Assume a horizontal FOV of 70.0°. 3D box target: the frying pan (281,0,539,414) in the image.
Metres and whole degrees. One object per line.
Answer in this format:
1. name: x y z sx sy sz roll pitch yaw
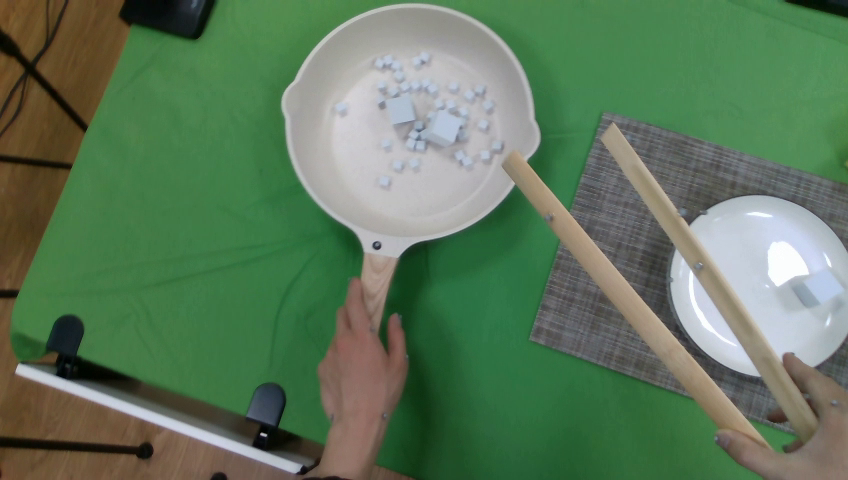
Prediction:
1. frying pan: -0.040 -0.045 0.704 0.306 0.103 0.485 11 73 6

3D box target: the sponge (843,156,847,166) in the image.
1. sponge: 0.608 -0.055 0.686 0.118 0.061 0.206 -36 79 -5

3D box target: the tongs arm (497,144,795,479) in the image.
1. tongs arm: 0.187 0.066 0.503 0.028 0.028 0.385 -26 72 -39

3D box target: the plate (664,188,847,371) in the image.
1. plate: 0.378 0.045 0.694 0.207 0.039 0.207 -1 81 4

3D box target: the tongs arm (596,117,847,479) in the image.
1. tongs arm: 0.247 0.045 0.541 0.051 0.026 0.381 -15 66 -32
